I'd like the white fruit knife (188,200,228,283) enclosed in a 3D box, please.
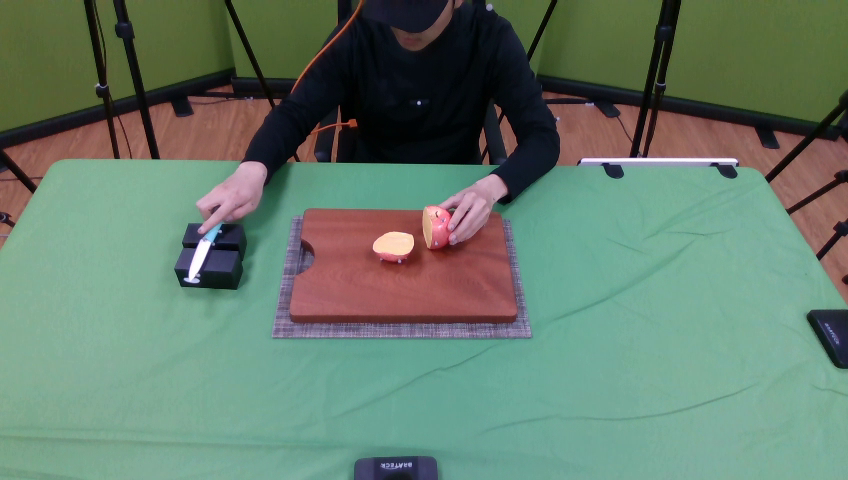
[{"bbox_3d":[-0.393,0.000,1.104,0.027,0.016,0.206,-3,46,8],"label":"white fruit knife"}]

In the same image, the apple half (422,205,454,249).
[{"bbox_3d":[0.029,-0.024,1.145,0.053,0.075,0.080,-5,43,-14],"label":"apple half"}]

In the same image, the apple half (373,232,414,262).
[{"bbox_3d":[-0.053,0.017,1.128,0.081,0.033,0.081,-2,32,2],"label":"apple half"}]
